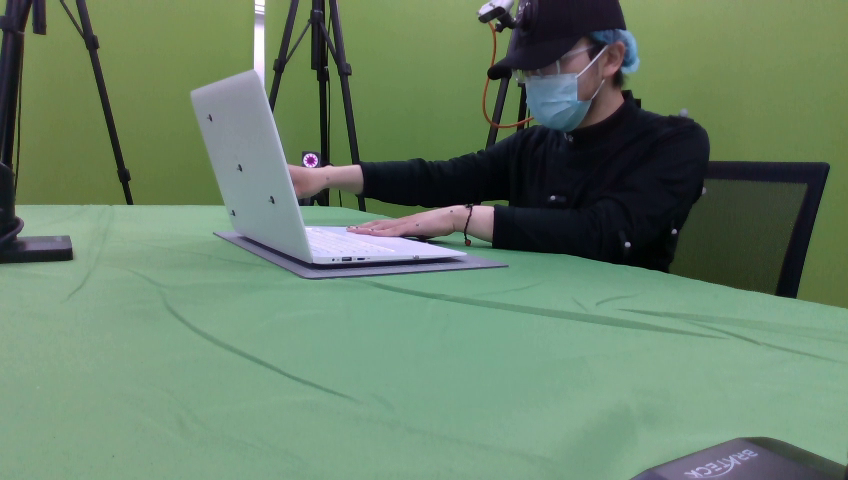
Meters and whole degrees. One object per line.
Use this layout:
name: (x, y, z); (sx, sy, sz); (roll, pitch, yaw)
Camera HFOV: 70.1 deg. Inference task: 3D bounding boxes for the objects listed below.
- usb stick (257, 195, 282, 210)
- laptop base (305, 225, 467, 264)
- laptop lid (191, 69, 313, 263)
usb stick: (-0.306, -0.073, 1.189); (0.021, 0.027, 0.059); (15, 9, 20)
laptop base: (-0.126, 0.005, 0.936); (0.237, 0.023, 0.352); (2, 6, -33)
laptop lid: (-0.251, -0.102, 0.839); (0.013, 0.242, 0.355); (-22, 20, -28)
